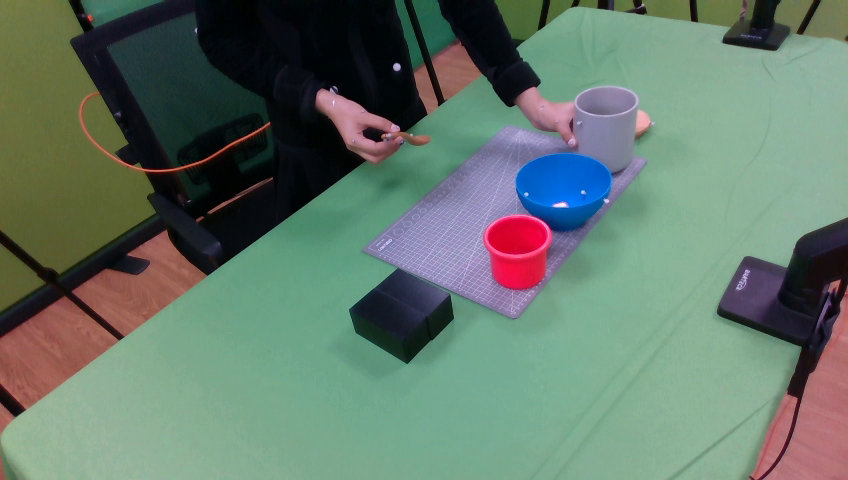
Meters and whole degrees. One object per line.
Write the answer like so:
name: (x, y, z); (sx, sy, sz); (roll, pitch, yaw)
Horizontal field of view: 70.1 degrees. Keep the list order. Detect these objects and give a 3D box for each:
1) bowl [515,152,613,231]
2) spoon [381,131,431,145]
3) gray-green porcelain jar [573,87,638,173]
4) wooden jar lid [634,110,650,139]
bowl: (0.224, -0.068, 0.972); (0.151, 0.077, 0.150); (-5, 40, 5)
spoon: (-0.033, -0.173, 1.016); (0.041, 0.021, 0.194); (6, 6, 19)
gray-green porcelain jar: (0.314, -0.187, 1.058); (0.106, 0.127, 0.105); (-6, 40, 5)
wooden jar lid: (0.382, -0.225, 1.178); (0.108, 0.021, 0.108); (-5, 40, 4)
